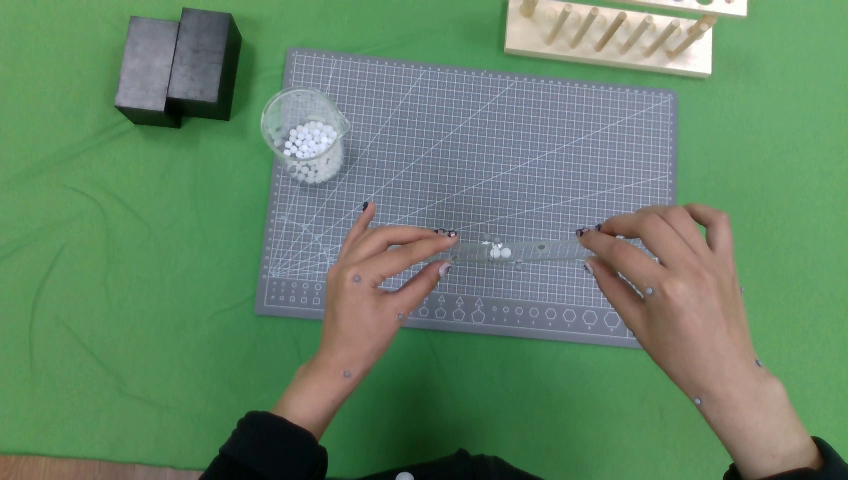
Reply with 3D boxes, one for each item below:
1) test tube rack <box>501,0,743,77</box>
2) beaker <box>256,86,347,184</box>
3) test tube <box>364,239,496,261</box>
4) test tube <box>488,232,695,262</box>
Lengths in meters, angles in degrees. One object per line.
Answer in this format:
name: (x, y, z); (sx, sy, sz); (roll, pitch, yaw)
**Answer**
test tube rack: (0.215, -0.244, 0.675); (0.242, 0.085, 0.066); (6, 80, -3)
beaker: (-0.119, -0.101, 0.616); (0.084, 0.100, 0.073); (-2, 81, -5)
test tube: (0.000, 0.009, 0.516); (0.017, 0.149, 0.017); (0, 89, -45)
test tube: (0.123, 0.005, 0.452); (0.150, 0.017, 0.017); (-3, 80, 8)
